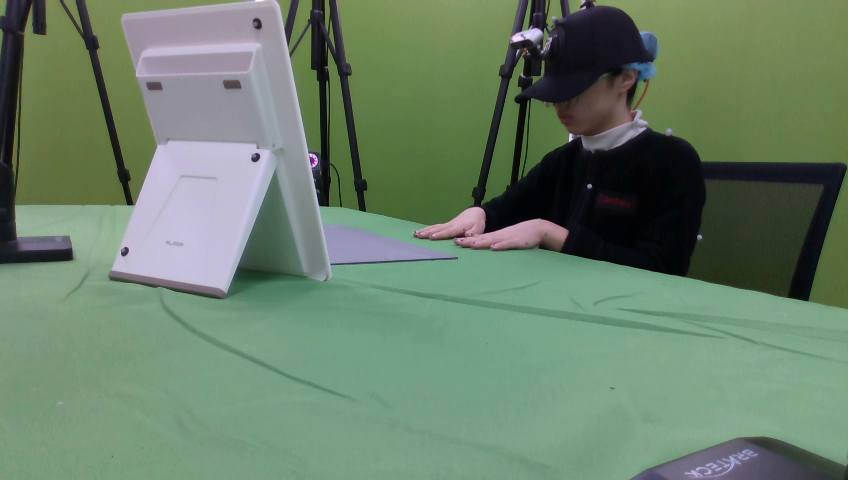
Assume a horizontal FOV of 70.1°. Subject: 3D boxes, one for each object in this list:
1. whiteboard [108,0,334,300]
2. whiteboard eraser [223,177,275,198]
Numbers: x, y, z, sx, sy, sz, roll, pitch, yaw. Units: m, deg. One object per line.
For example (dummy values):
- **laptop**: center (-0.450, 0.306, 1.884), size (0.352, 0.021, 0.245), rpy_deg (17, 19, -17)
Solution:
- **whiteboard**: center (-0.248, -0.072, 0.624), size (0.216, 0.305, 0.144), rpy_deg (6, 28, 26)
- **whiteboard eraser**: center (-0.377, -0.113, 1.308), size (0.055, 0.042, 0.113), rpy_deg (7, 11, 20)
